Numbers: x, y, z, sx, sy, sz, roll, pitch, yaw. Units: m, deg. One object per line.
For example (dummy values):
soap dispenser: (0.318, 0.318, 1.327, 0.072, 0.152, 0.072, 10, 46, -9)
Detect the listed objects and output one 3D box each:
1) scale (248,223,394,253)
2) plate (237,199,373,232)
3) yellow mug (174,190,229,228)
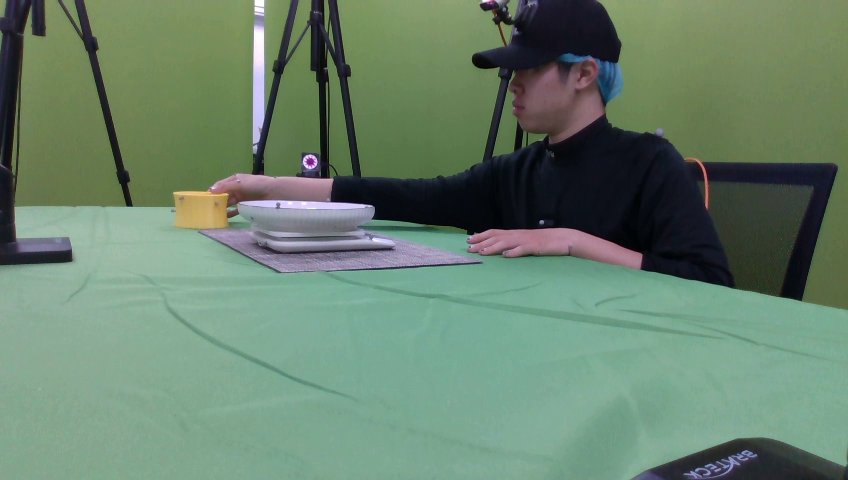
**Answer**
scale: (-0.162, -0.006, 0.954, 0.202, 0.031, 0.148, -1, 9, -32)
plate: (-0.183, -0.039, 0.941, 0.209, 0.038, 0.209, 3, 7, 0)
yellow mug: (-0.427, -0.063, 1.189, 0.100, 0.064, 0.131, 5, 7, 14)
